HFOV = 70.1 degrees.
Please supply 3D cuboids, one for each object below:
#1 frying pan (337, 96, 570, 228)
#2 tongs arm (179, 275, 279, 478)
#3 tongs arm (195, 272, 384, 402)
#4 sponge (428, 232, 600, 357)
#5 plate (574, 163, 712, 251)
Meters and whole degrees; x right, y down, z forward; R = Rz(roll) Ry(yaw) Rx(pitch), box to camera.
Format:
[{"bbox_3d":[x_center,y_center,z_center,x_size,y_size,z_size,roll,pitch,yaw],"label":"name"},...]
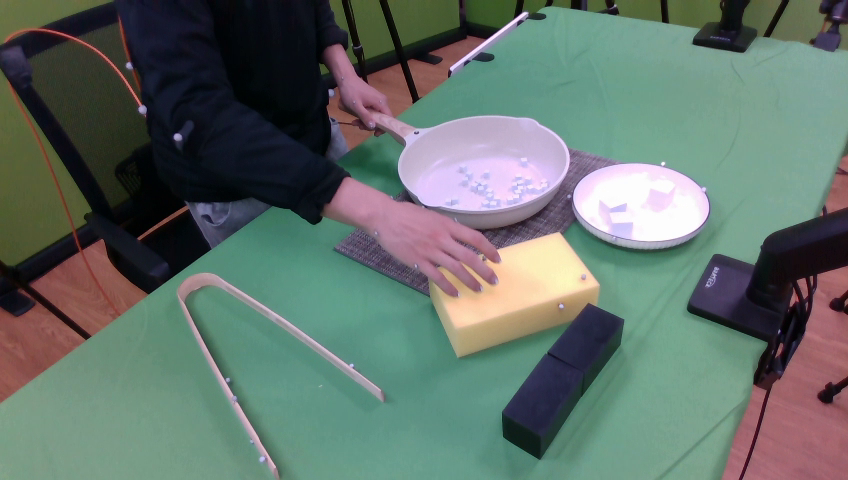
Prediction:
[{"bbox_3d":[0.023,-0.167,1.090,0.484,0.103,0.308,32,52,26],"label":"frying pan"},{"bbox_3d":[-0.260,0.161,0.807,0.051,0.026,0.381,-29,44,-25],"label":"tongs arm"},{"bbox_3d":[-0.198,0.125,0.847,0.384,0.028,0.028,25,52,32],"label":"tongs arm"},{"bbox_3d":[0.120,0.071,0.834,0.207,0.061,0.117,-15,43,-12],"label":"sponge"},{"bbox_3d":[0.344,-0.050,0.966,0.207,0.039,0.206,-4,40,4],"label":"plate"}]
